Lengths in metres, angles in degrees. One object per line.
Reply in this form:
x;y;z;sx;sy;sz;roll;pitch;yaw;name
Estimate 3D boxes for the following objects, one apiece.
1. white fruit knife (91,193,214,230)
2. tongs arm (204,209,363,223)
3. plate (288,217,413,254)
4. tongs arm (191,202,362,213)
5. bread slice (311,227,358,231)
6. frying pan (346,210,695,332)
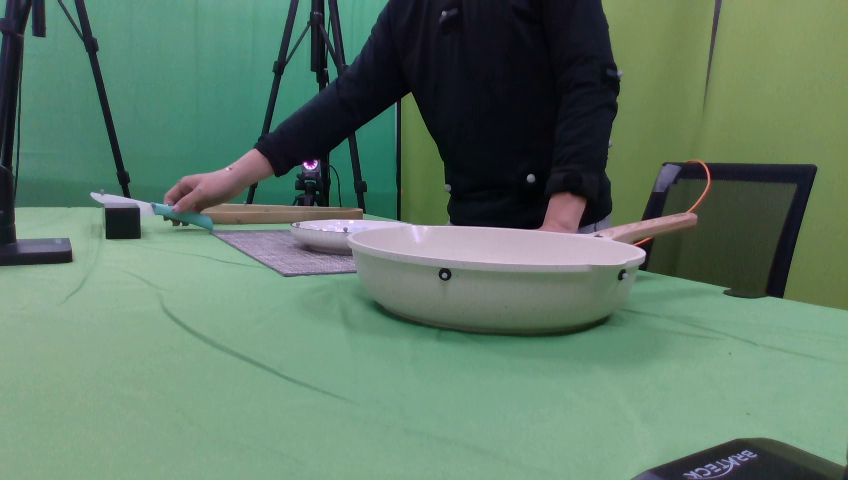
-0.478;-0.055;1.077;0.208;0.027;0.016;14;-1;-30;white fruit knife
-0.293;-0.054;1.336;0.390;0.028;0.028;-3;6;-39;tongs arm
-0.109;-0.007;0.956;0.208;0.039;0.207;2;7;0;plate
-0.333;-0.068;1.403;0.387;0.026;0.050;0;8;-27;tongs arm
-0.115;-0.005;0.950;0.134;0.018;0.107;3;6;-7;bread slice
0.153;0.009;0.668;0.490;0.102;0.305;-12;15;-32;frying pan
